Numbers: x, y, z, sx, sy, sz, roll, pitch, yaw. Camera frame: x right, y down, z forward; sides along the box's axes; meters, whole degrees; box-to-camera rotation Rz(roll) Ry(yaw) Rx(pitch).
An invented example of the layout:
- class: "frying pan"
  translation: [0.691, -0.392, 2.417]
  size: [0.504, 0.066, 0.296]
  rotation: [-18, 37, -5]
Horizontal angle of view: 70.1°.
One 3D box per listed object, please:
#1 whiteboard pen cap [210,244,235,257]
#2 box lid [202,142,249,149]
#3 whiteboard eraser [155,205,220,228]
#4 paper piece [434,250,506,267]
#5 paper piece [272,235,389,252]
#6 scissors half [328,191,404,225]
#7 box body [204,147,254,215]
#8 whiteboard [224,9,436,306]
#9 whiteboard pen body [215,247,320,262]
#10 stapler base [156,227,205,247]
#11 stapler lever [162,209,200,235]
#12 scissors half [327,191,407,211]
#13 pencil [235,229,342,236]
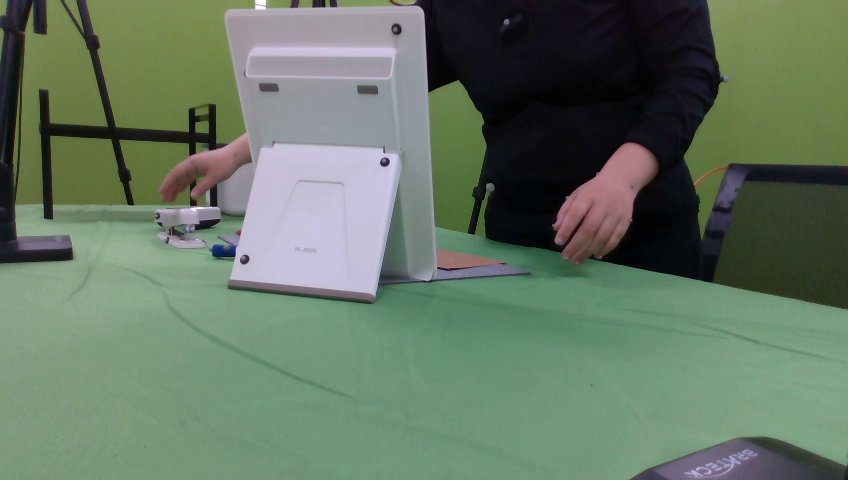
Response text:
- class: "whiteboard pen cap"
  translation: [-0.266, 0.015, 0.806]
  size: [0.033, 0.018, 0.018]
  rotation: [3, 7, -1]
- class: "box lid"
  translation: [-0.345, -0.225, 1.509]
  size: [0.373, 0.015, 0.262]
  rotation: [-2, 8, -31]
- class: "whiteboard eraser"
  translation: [-0.429, -0.041, 1.100]
  size: [0.055, 0.042, 0.113]
  rotation: [7, 8, 19]
- class: "paper piece"
  translation: [0.025, 0.026, 0.865]
  size: [0.134, 0.004, 0.136]
  rotation: [8, 8, 43]
- class: "paper piece"
  translation: [-0.151, 0.003, 0.978]
  size: [0.135, 0.008, 0.139]
  rotation: [14, 10, 35]
- class: "scissors half"
  translation: [-0.128, -0.072, 1.320]
  size: [0.175, 0.040, 0.013]
  rotation: [22, 5, -6]
- class: "box body"
  translation: [-0.347, -0.152, 1.520]
  size: [0.366, 0.160, 0.253]
  rotation: [-2, 9, -31]
- class: "whiteboard"
  translation: [-0.117, -0.065, 0.617]
  size: [0.217, 0.305, 0.144]
  rotation: [5, 29, 16]
- class: "whiteboard pen body"
  translation: [-0.208, 0.018, 0.805]
  size: [0.141, 0.017, 0.017]
  rotation: [3, 7, 2]
- class: "stapler base"
  translation: [-0.376, -0.007, 0.935]
  size: [0.041, 0.024, 0.130]
  rotation: [1, 5, -38]
- class: "stapler lever"
  translation: [-0.376, -0.031, 0.933]
  size: [0.027, 0.040, 0.117]
  rotation: [1, 6, -38]
- class: "scissors half"
  translation: [-0.123, -0.092, 1.317]
  size: [0.175, 0.040, 0.013]
  rotation: [6, 12, -4]
- class: "pencil"
  translation: [-0.231, -0.012, 1.051]
  size: [0.195, 0.012, 0.012]
  rotation: [1, 7, -34]
